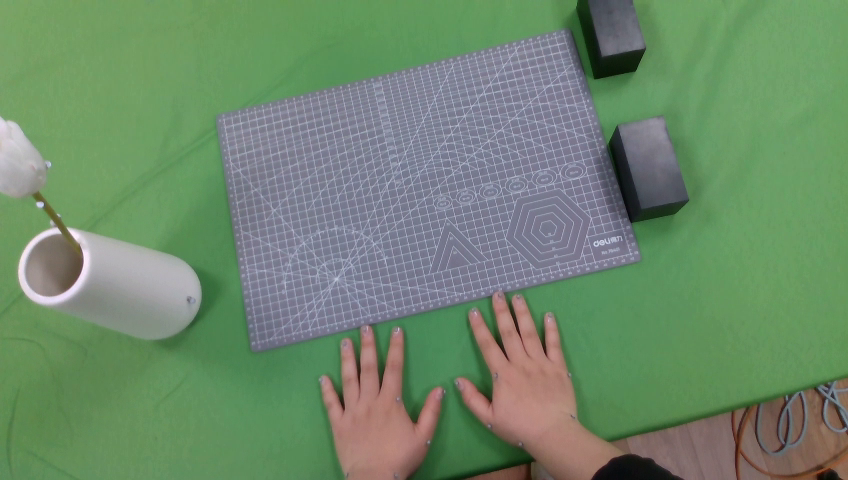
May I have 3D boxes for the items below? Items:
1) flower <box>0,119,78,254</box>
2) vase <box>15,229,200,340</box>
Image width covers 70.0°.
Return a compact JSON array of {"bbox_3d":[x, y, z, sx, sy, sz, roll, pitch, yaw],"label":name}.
[{"bbox_3d":[-0.304,0.014,0.539,0.038,0.364,0.043,-26,69,-20],"label":"flower"},{"bbox_3d":[-0.310,0.047,0.615,0.098,0.201,0.097,-1,75,4],"label":"vase"}]
